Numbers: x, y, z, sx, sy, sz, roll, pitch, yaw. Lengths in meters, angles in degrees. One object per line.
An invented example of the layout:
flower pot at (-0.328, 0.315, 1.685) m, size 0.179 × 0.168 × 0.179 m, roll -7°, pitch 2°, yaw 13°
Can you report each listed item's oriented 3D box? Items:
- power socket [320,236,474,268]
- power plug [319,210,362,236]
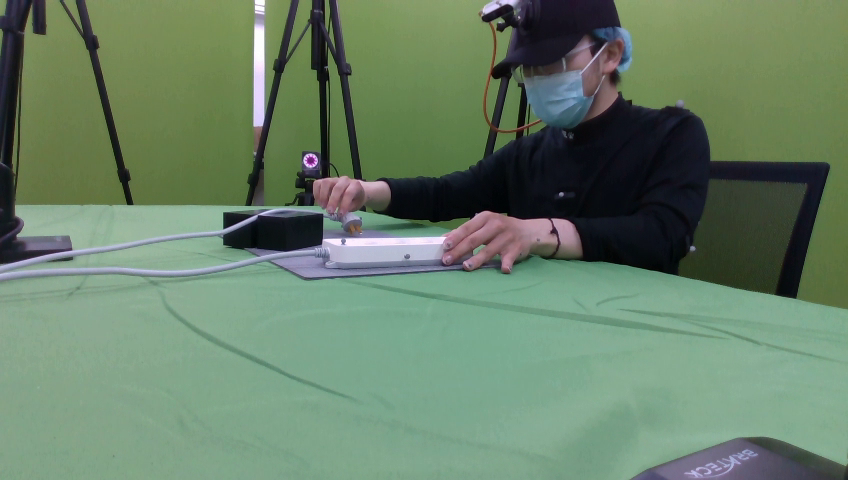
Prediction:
power socket at (-0.033, 0.014, 0.824) m, size 0.228 × 0.032 × 0.072 m, roll -2°, pitch 7°, yaw -30°
power plug at (-0.147, -0.026, 1.085) m, size 0.073 × 0.035 × 0.052 m, roll -17°, pitch 57°, yaw -19°
